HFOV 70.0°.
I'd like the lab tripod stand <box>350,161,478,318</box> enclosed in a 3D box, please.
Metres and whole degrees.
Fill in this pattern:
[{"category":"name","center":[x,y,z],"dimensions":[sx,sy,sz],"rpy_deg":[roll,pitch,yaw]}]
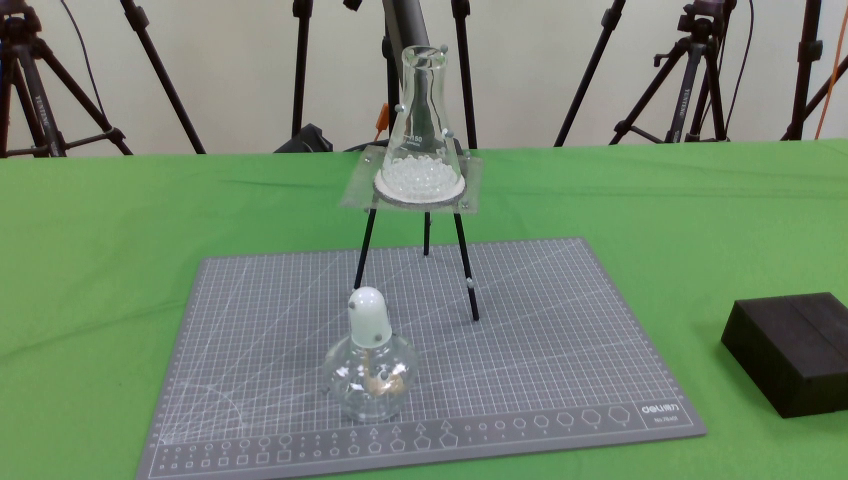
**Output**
[{"category":"lab tripod stand","center":[-0.003,0.000,0.604],"dimensions":[0.148,0.132,0.147],"rpy_deg":[3,33,-2]}]

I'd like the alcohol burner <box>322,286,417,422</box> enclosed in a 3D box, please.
[{"category":"alcohol burner","center":[-0.044,0.088,0.487],"dimensions":[0.078,0.120,0.077],"rpy_deg":[1,32,0]}]

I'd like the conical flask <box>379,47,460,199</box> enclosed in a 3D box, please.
[{"category":"conical flask","center":[-0.002,-0.104,0.532],"dimensions":[0.075,0.123,0.074],"rpy_deg":[2,34,-1]}]

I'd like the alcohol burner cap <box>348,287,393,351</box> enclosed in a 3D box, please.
[{"category":"alcohol burner cap","center":[-0.043,0.058,0.466],"dimensions":[0.034,0.048,0.033],"rpy_deg":[-4,37,3]}]

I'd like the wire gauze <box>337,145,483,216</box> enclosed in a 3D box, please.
[{"category":"wire gauze","center":[-0.008,-0.056,0.568],"dimensions":[0.121,0.011,0.124],"rpy_deg":[5,36,5]}]
